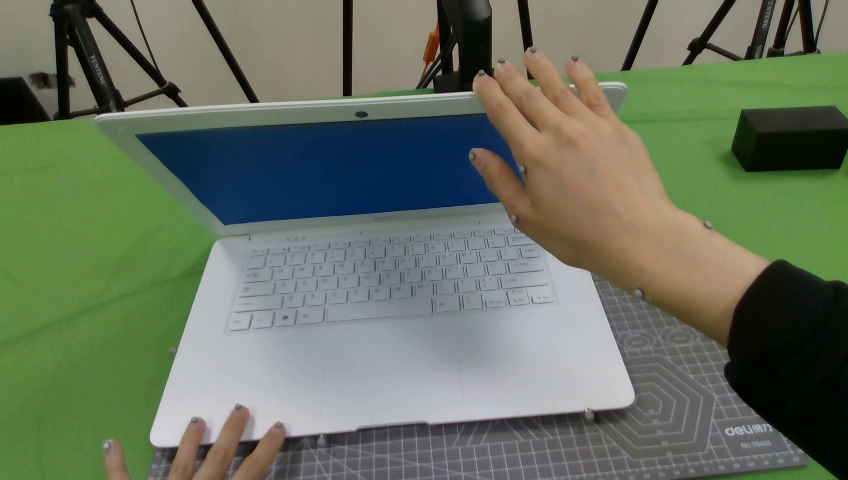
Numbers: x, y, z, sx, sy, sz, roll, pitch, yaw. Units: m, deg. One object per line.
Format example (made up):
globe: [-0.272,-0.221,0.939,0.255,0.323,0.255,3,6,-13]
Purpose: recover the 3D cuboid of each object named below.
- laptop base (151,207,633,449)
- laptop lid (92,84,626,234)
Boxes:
laptop base: [-0.028,0.063,0.523,0.354,0.023,0.233,-5,43,0]
laptop lid: [-0.039,-0.054,0.499,0.357,0.243,0.013,-5,73,2]
